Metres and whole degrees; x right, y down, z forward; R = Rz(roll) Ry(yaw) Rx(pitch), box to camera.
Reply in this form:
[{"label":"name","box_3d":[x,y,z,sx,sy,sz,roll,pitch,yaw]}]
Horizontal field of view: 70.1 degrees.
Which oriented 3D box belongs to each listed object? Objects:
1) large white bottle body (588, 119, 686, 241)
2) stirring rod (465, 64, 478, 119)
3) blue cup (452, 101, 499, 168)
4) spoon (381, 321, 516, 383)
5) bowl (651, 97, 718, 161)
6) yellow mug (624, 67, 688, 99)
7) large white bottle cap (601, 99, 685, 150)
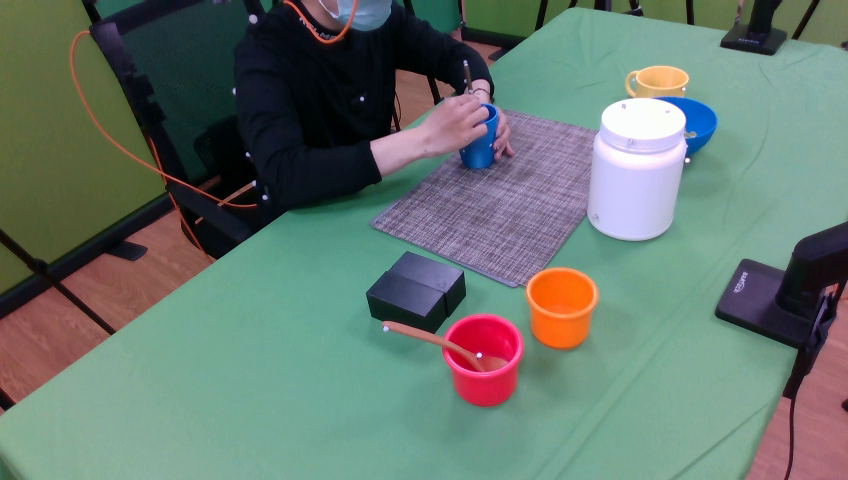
[{"label":"large white bottle body","box_3d":[0.324,-0.105,0.926,0.130,0.185,0.130,-5,41,4]},{"label":"stirring rod","box_3d":[0.093,-0.238,1.099,0.006,0.177,0.014,0,42,18]},{"label":"blue cup","box_3d":[0.098,-0.190,1.117,0.092,0.100,0.092,-5,40,5]},{"label":"spoon","box_3d":[0.033,0.131,0.726,0.195,0.021,0.041,29,30,-26]},{"label":"bowl","box_3d":[0.439,-0.187,1.087,0.151,0.077,0.150,-4,41,4]},{"label":"yellow mug","box_3d":[0.465,-0.305,1.230,0.100,0.064,0.129,-34,46,-27]},{"label":"large white bottle cap","box_3d":[0.315,-0.169,0.870,0.115,0.018,0.114,-4,41,4]}]
